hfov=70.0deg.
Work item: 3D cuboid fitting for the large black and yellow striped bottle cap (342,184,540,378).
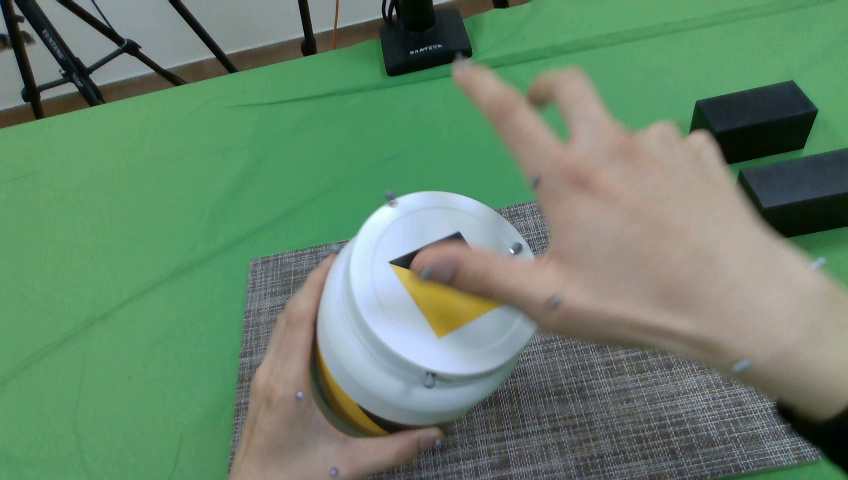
[{"bbox_3d":[0.011,0.020,0.345,0.115,0.019,0.114,8,62,-14],"label":"large black and yellow striped bottle cap"}]

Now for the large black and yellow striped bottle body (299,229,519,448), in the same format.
[{"bbox_3d":[-0.012,0.060,0.416,0.131,0.185,0.129,8,60,-14],"label":"large black and yellow striped bottle body"}]
